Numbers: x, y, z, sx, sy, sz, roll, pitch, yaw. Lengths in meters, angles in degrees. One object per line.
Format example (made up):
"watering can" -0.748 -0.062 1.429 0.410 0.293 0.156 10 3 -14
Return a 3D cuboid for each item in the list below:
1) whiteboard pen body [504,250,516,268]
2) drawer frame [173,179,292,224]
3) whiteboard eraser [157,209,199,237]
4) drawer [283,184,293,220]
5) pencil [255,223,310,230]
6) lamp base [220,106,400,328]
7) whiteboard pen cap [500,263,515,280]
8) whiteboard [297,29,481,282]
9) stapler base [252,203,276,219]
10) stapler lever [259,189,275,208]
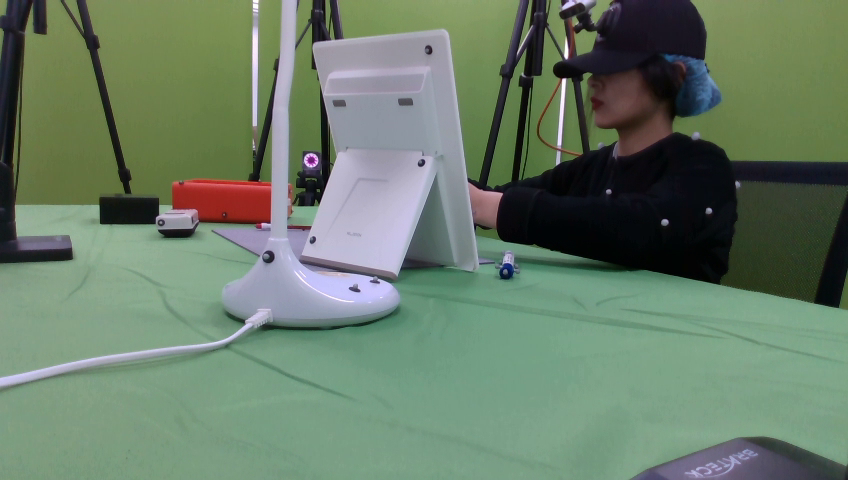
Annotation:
"whiteboard pen body" 0.115 0.031 0.815 0.017 0.017 0.141 4 8 9
"drawer frame" -0.400 -0.086 1.300 0.214 0.082 0.201 1 8 -8
"whiteboard eraser" -0.411 -0.029 1.016 0.056 0.042 0.112 2 7 -16
"drawer" -0.396 -0.085 1.301 0.212 0.073 0.194 1 8 -7
"pencil" -0.216 -0.023 1.134 0.195 0.012 0.012 1 7 -21
"lamp base" -0.101 -0.023 0.531 0.160 0.180 0.179 4 10 10
"whiteboard pen cap" 0.105 0.038 0.758 0.018 0.018 0.033 4 10 9
"whiteboard" -0.076 -0.082 0.741 0.216 0.305 0.144 9 29 37
"stapler base" -0.341 -0.065 1.301 0.041 0.024 0.130 16 4 -11
"stapler lever" -0.335 -0.090 1.300 0.027 0.040 0.118 16 4 -11
